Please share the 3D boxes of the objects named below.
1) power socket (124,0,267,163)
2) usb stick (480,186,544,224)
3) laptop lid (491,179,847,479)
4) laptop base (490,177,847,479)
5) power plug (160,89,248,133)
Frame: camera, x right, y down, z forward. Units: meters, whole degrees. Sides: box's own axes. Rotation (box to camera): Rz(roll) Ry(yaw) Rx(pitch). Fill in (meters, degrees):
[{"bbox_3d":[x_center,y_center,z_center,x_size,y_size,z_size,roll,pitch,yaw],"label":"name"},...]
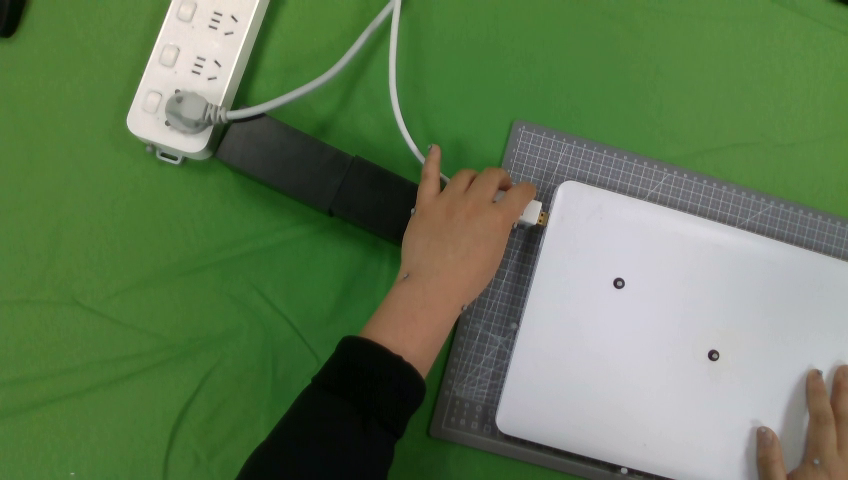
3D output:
[{"bbox_3d":[-0.190,-0.178,0.528,0.072,0.032,0.226,19,85,-5],"label":"power socket"},{"bbox_3d":[0.082,-0.029,0.538,0.059,0.027,0.021,18,86,-12],"label":"usb stick"},{"bbox_3d":[0.255,0.102,0.549,0.357,0.013,0.241,18,88,-4],"label":"laptop lid"},{"bbox_3d":[0.255,0.100,0.559,0.355,0.023,0.235,16,89,-5],"label":"laptop base"},{"bbox_3d":[-0.184,-0.098,0.503,0.073,0.052,0.035,32,82,-5],"label":"power plug"}]
